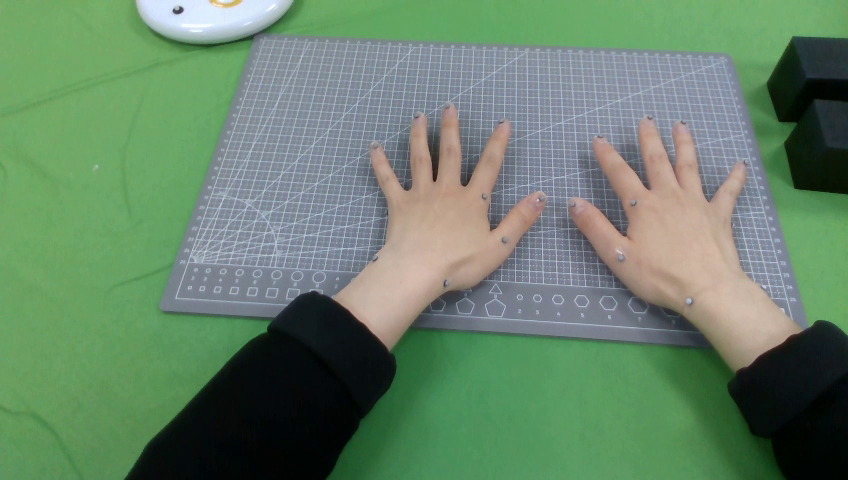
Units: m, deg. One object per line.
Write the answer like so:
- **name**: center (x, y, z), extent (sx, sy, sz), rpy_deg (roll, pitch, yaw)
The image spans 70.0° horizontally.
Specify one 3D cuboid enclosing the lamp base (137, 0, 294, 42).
- **lamp base**: center (-0.216, -0.305, 0.551), extent (0.160, 0.182, 0.177), rpy_deg (-33, 60, -19)
